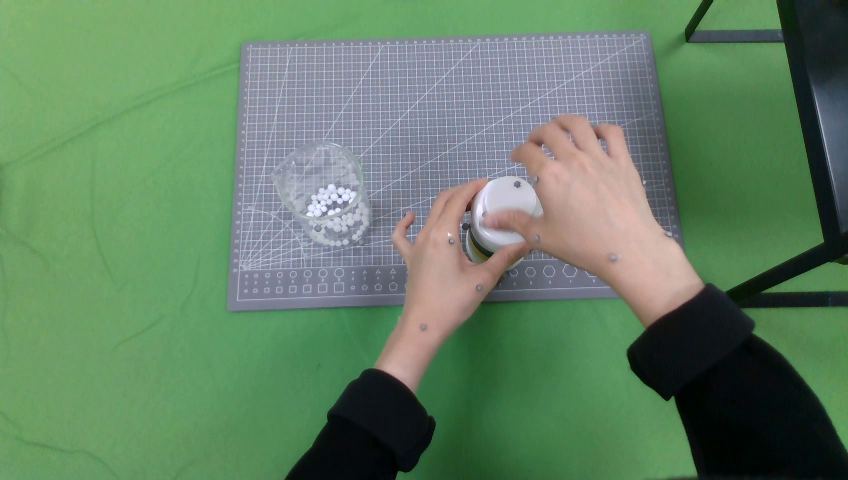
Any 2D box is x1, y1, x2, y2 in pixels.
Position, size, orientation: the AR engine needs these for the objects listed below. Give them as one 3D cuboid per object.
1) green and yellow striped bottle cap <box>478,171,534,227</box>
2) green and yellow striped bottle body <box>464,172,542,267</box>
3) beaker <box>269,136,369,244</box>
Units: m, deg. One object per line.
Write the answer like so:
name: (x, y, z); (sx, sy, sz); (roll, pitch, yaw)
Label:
green and yellow striped bottle cap: (0.068, -0.034, 0.498); (0.045, 0.020, 0.045); (1, 75, -3)
green and yellow striped bottle body: (0.070, -0.019, 0.548); (0.063, 0.120, 0.063); (0, 73, 1)
beaker: (-0.093, -0.042, 0.565); (0.084, 0.101, 0.073); (9, 73, 3)
